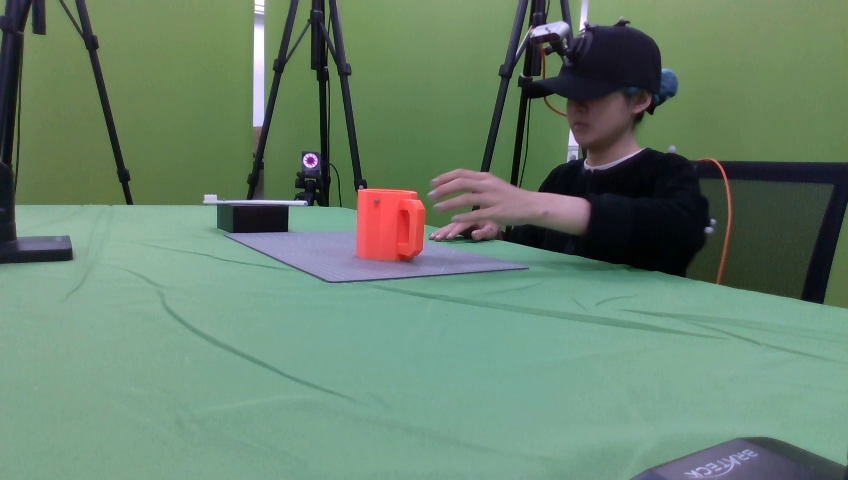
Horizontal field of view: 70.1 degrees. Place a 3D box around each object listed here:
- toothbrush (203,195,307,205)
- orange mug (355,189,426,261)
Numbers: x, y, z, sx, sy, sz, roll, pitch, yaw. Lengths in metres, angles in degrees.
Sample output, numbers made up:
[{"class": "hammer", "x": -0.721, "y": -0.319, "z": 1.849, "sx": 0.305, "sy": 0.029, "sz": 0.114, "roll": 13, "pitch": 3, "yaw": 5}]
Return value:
[{"class": "toothbrush", "x": -0.306, "y": -0.072, "z": 1.105, "sx": 0.183, "sy": 0.016, "sz": 0.014, "roll": 1, "pitch": 5, "yaw": -22}, {"class": "orange mug", "x": -0.043, "y": -0.022, "z": 0.854, "sx": 0.084, "sy": 0.100, "sz": 0.125, "roll": -3, "pitch": 5, "yaw": -40}]
